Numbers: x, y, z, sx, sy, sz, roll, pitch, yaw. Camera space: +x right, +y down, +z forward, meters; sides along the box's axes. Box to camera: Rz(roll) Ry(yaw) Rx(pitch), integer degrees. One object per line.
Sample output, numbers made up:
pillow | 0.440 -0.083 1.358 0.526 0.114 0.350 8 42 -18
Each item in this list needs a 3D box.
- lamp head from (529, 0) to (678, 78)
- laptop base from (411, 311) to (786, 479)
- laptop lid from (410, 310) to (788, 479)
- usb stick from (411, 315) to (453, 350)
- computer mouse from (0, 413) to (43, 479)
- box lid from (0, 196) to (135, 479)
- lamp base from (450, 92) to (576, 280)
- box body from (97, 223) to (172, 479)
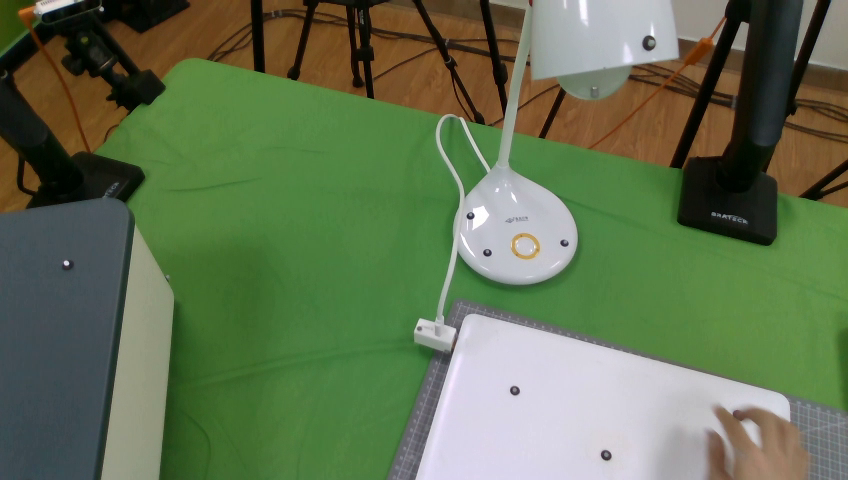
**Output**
lamp head | 0.130 -0.189 0.462 0.112 0.112 0.123 -11 99 -6
laptop base | 0.179 0.216 0.616 0.353 0.023 0.234 13 60 10
laptop lid | 0.177 0.211 0.605 0.355 0.013 0.240 15 59 11
usb stick | 0.015 0.106 0.680 0.059 0.027 0.021 18 52 9
computer mouse | -0.423 0.211 0.599 0.063 0.041 0.116 -34 21 -11
box lid | -0.397 0.117 0.513 0.263 0.015 0.367 -8 56 -5
lamp base | 0.107 -0.071 0.721 0.161 0.182 0.177 -17 53 -11
box body | -0.396 0.161 0.572 0.254 0.162 0.360 -8 55 -5
